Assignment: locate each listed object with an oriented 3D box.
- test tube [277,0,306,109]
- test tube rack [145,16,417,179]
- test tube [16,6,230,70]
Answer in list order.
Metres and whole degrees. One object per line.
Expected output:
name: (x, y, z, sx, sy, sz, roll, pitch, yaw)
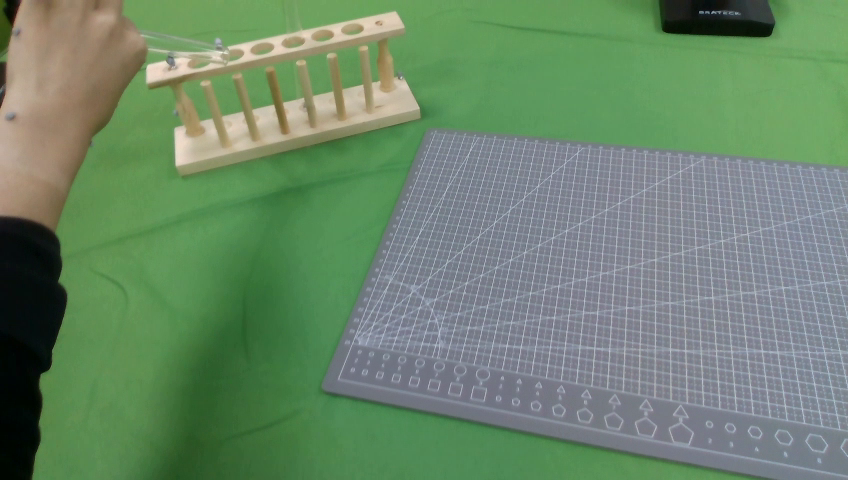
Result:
test tube: (-0.126, -0.194, 0.574, 0.017, 0.151, 0.017, 0, 40, 0)
test tube rack: (-0.134, -0.142, 0.595, 0.243, 0.086, 0.066, -16, 48, -9)
test tube: (-0.223, -0.153, 0.465, 0.151, 0.017, 0.017, 1, 35, -42)
